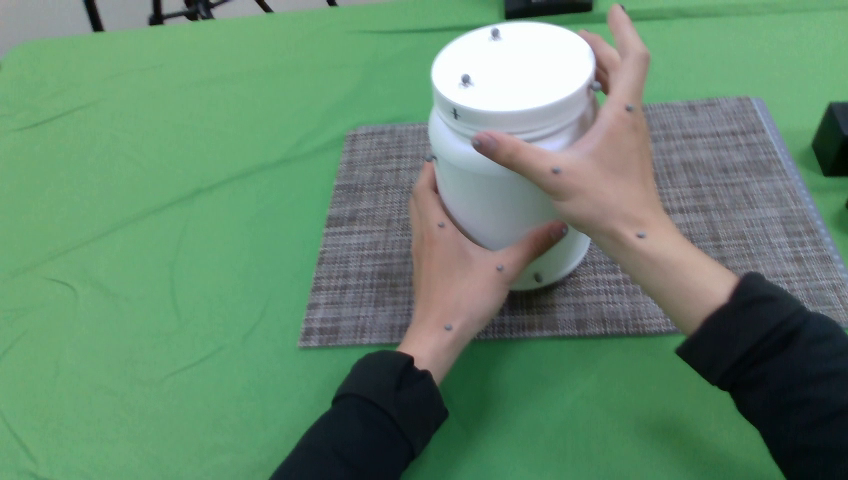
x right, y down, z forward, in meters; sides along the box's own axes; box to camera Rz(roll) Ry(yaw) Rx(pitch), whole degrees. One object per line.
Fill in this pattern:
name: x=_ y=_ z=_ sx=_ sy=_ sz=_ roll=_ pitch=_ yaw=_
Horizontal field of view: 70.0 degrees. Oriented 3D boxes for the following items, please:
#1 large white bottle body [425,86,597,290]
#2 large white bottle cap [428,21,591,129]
large white bottle body: x=0.071 y=-0.062 z=0.494 sx=0.130 sy=0.186 sz=0.129 roll=-6 pitch=47 yaw=6
large white bottle cap: x=0.060 y=-0.120 z=0.430 sx=0.115 sy=0.018 sz=0.113 roll=-5 pitch=47 yaw=5
